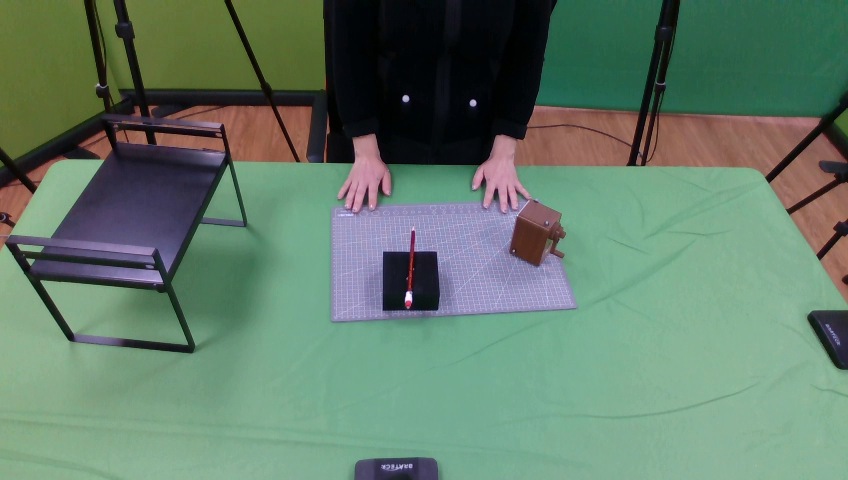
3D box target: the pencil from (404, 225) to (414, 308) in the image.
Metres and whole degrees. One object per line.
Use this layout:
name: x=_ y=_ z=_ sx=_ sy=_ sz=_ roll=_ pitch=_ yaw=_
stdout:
pencil: x=-0.025 y=0.042 z=1.088 sx=0.012 sy=0.012 sz=0.193 roll=3 pitch=47 yaw=-1

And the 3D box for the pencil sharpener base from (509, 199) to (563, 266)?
pencil sharpener base: x=0.216 y=-0.012 z=1.160 sx=0.076 sy=0.107 sz=0.061 roll=27 pitch=50 yaw=21

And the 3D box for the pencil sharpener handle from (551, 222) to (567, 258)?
pencil sharpener handle: x=0.258 y=0.002 z=1.132 sx=0.030 sy=0.068 sz=0.036 roll=27 pitch=42 yaw=21
